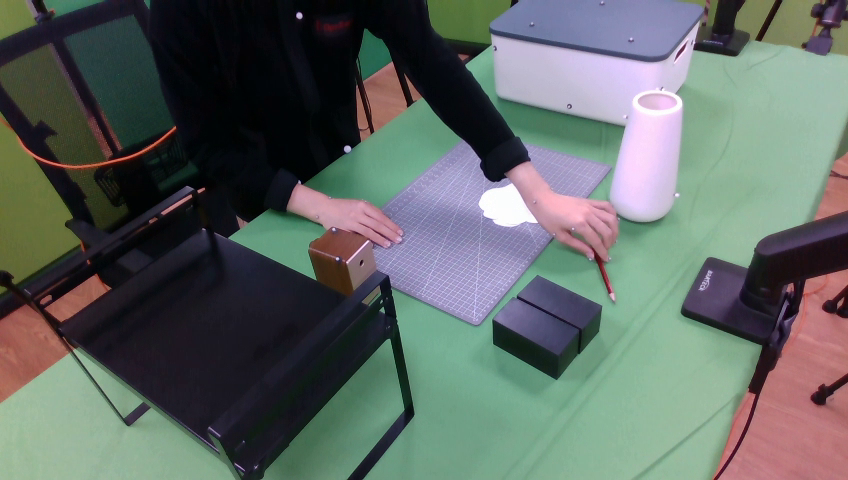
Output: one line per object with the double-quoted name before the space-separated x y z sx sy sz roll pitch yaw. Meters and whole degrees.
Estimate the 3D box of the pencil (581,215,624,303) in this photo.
"pencil" 0.270 0.025 0.916 0.012 0.012 0.193 -8 42 -1

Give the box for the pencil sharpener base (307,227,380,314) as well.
"pencil sharpener base" -0.116 0.043 0.875 0.076 0.107 0.061 18 47 28

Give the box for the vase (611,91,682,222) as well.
"vase" 0.348 -0.125 0.935 0.098 0.201 0.097 -3 40 3

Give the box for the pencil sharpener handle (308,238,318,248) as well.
"pencil sharpener handle" -0.158 0.018 0.892 0.030 0.068 0.036 18 61 28

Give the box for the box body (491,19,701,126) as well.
"box body" 0.352 -0.384 1.268 0.361 0.161 0.255 21 48 29

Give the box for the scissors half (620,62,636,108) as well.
"scissors half" 0.434 -0.340 1.298 0.013 0.040 0.174 25 42 -12

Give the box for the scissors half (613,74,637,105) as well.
"scissors half" 0.427 -0.330 1.306 0.013 0.040 0.174 31 31 -14

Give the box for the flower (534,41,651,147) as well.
"flower" 0.364 -0.319 1.318 0.038 0.044 0.359 -4 48 -49

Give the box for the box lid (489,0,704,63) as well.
"box lid" 0.345 -0.441 1.217 0.369 0.015 0.264 21 49 29
